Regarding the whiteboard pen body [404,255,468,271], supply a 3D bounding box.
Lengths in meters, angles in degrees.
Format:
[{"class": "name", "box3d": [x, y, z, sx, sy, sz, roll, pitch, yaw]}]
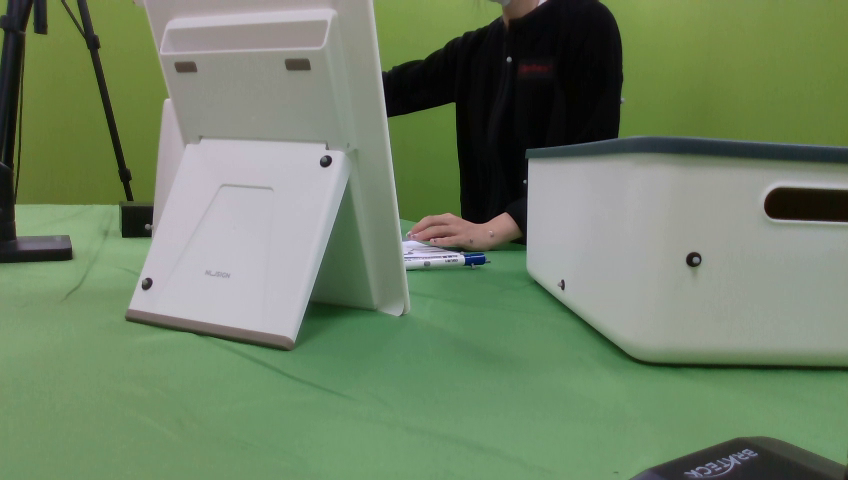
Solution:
[{"class": "whiteboard pen body", "box3d": [0.013, 0.030, 0.792, 0.141, 0.017, 0.017, -3, 9, -24]}]

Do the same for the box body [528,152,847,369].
[{"class": "box body", "box3d": [0.258, -0.005, 0.591, 0.254, 0.160, 0.363, 2, 7, -4]}]

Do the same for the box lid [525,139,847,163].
[{"class": "box lid", "box3d": [0.261, -0.078, 0.580, 0.264, 0.015, 0.371, 2, 7, -4]}]

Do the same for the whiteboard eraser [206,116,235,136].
[{"class": "whiteboard eraser", "box3d": [-0.450, -0.252, 1.335, 0.056, 0.042, 0.112, 1, 7, -22]}]

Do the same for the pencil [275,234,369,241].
[{"class": "pencil", "box3d": [-0.169, -0.006, 1.036, 0.195, 0.012, 0.012, -2, 9, -45]}]

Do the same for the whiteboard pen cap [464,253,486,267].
[{"class": "whiteboard pen cap", "box3d": [0.066, 0.027, 0.818, 0.033, 0.018, 0.018, -5, 10, -24]}]

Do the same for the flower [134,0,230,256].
[{"class": "flower", "box3d": [-0.282, -0.146, 0.713, 0.038, 0.362, 0.044, -23, 23, -31]}]

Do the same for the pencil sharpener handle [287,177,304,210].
[{"class": "pencil sharpener handle", "box3d": [-0.269, -0.096, 1.256, 0.036, 0.067, 0.030, -8, 8, -27]}]

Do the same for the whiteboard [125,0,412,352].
[{"class": "whiteboard", "box3d": [-0.151, -0.049, 0.472, 0.216, 0.305, 0.144, 6, 27, 24]}]

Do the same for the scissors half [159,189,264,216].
[{"class": "scissors half", "box3d": [-0.370, -0.062, 1.059, 0.176, 0.040, 0.013, -11, 8, -26]}]

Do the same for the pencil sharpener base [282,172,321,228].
[{"class": "pencil sharpener base", "box3d": [-0.247, -0.080, 1.212, 0.061, 0.107, 0.076, -2, 5, -28]}]

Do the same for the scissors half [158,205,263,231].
[{"class": "scissors half", "box3d": [-0.371, -0.042, 1.061, 0.176, 0.040, 0.012, 8, 4, -27]}]

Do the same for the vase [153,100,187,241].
[{"class": "vase", "box3d": [-0.278, -0.066, 0.736, 0.098, 0.200, 0.098, 2, 9, 0]}]
